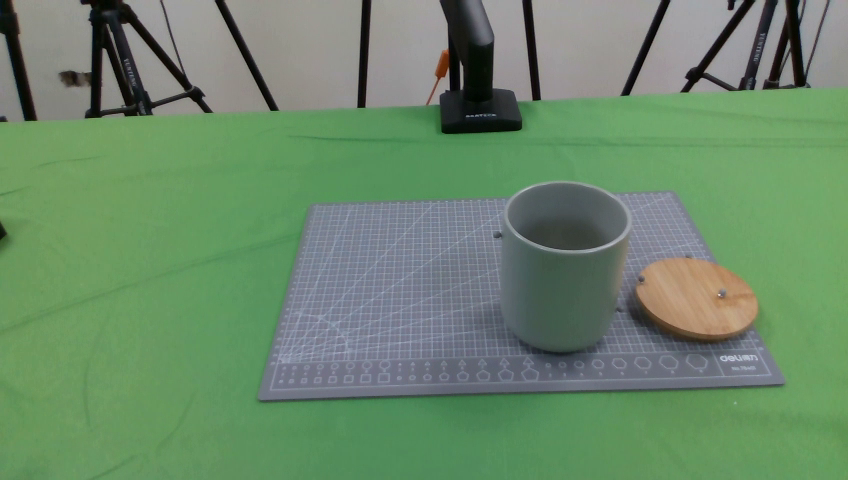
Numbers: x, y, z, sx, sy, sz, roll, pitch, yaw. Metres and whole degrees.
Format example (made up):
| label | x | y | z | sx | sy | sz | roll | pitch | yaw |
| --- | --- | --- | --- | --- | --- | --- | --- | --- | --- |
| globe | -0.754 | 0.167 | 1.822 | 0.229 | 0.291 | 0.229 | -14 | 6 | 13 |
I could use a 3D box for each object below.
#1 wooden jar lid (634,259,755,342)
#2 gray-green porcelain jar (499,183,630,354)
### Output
| label | x | y | z | sx | sy | sz | roll | pitch | yaw |
| --- | --- | --- | --- | --- | --- | --- | --- | --- | --- |
| wooden jar lid | 0.256 | 0.059 | 0.580 | 0.108 | 0.021 | 0.107 | -2 | 36 | 2 |
| gray-green porcelain jar | 0.120 | 0.029 | 0.539 | 0.106 | 0.127 | 0.105 | -2 | 38 | 2 |
